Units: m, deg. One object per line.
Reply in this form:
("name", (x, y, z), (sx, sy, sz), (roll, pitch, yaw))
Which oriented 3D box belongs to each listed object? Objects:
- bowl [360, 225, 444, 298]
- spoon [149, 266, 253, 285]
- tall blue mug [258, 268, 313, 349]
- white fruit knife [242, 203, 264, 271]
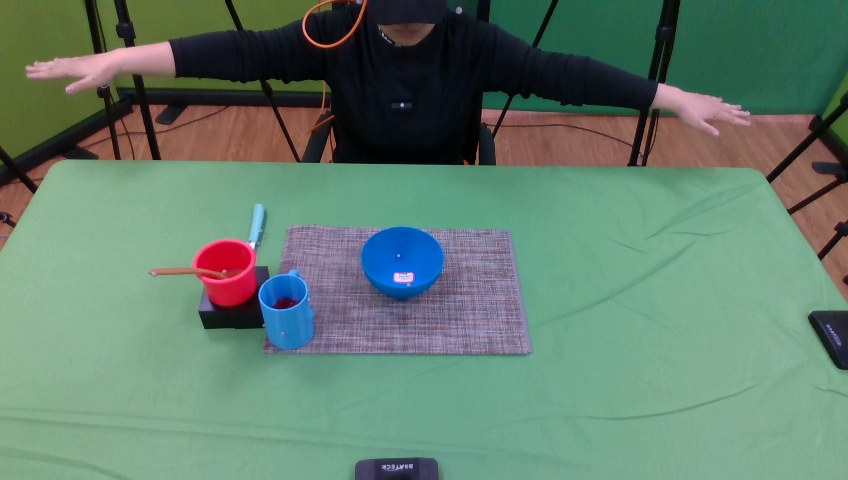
("bowl", (-0.040, 0.053, 1.099), (0.151, 0.077, 0.150), (2, 46, -2))
("spoon", (-0.351, 0.052, 0.968), (0.041, 0.021, 0.194), (41, 12, 28))
("tall blue mug", (-0.232, 0.108, 1.010), (0.078, 0.108, 0.106), (-15, 49, -17))
("white fruit knife", (-0.334, 0.001, 1.178), (0.027, 0.016, 0.206), (-18, 46, 17))
